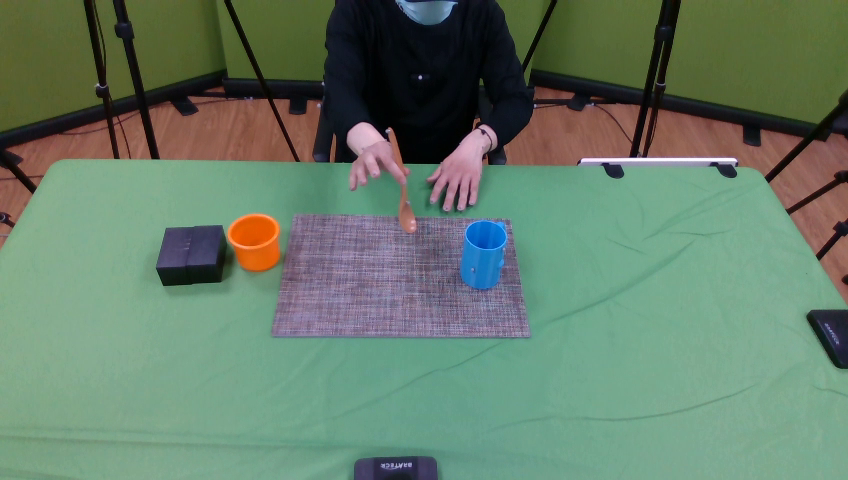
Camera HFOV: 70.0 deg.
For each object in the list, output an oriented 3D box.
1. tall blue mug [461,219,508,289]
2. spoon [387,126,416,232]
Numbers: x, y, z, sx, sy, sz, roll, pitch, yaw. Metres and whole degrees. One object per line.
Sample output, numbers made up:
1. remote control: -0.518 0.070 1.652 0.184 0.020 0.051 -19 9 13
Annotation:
1. tall blue mug: 0.111 0.016 1.121 0.078 0.108 0.106 6 46 4
2. spoon: -0.039 -0.102 1.043 0.021 0.194 0.041 9 31 30
